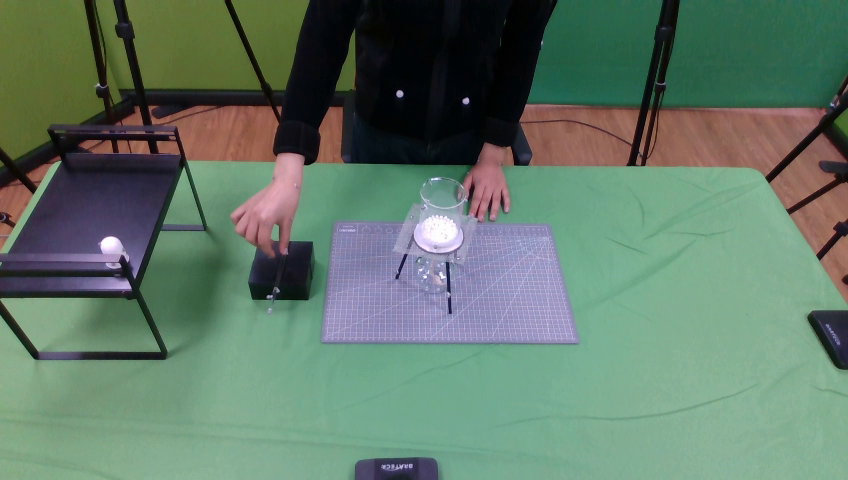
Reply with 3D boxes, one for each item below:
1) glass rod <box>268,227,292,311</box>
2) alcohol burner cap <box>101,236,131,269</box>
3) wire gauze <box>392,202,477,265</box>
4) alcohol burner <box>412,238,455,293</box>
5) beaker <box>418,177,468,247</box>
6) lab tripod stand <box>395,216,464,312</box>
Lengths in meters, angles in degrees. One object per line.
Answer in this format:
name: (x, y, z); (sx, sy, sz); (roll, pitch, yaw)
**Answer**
glass rod: (-0.256, 0.047, 1.076); (0.008, 0.008, 0.198); (3, 45, -1)
alcohol burner cap: (-0.452, 0.016, 0.883); (0.034, 0.048, 0.033); (2, 47, -1)
wire gauze: (0.021, -0.011, 1.037); (0.121, 0.011, 0.124); (13, 49, 8)
alcohol burner: (0.019, 0.040, 1.094); (0.078, 0.119, 0.077); (4, 45, -3)
beaker: (0.026, -0.045, 1.004); (0.074, 0.101, 0.083); (-20, 51, -22)
lab tripod stand: (0.023, 0.037, 1.084); (0.148, 0.132, 0.147); (4, 47, -4)
